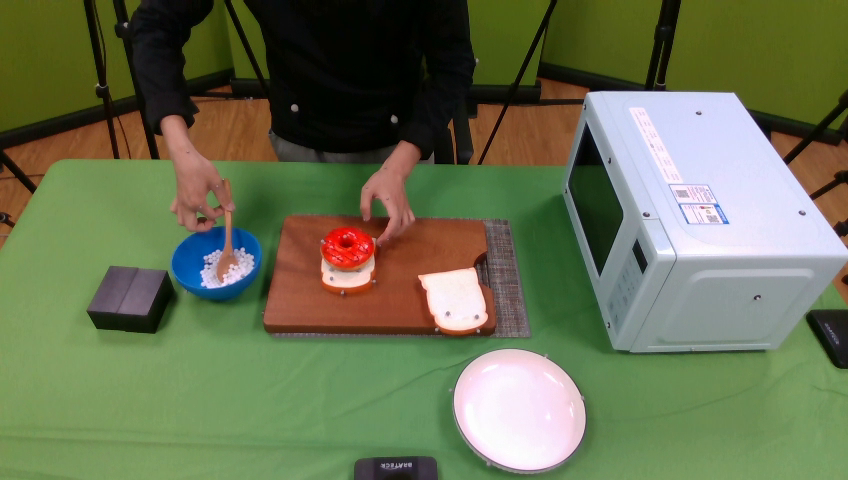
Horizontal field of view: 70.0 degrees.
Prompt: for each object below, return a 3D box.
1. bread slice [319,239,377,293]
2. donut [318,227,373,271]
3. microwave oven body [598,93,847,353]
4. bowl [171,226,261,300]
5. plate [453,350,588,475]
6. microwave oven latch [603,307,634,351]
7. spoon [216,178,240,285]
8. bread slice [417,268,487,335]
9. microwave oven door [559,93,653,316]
[{"bbox_3d":[-0.140,0.044,1.111,0.105,0.019,0.130,0,44,-3],"label":"bread slice"},{"bbox_3d":[-0.141,0.017,1.096,0.099,0.048,0.098,2,44,-2],"label":"donut"},{"bbox_3d":[0.475,-0.041,1.109,0.326,0.261,0.438,-1,45,-4],"label":"microwave oven body"},{"bbox_3d":[-0.363,0.054,1.081,0.151,0.077,0.150,3,45,-2],"label":"bowl"},{"bbox_3d":[0.147,0.267,0.943,0.208,0.039,0.206,2,45,-2],"label":"plate"},{"bbox_3d":[0.332,0.153,1.044,0.030,0.029,0.078,0,45,-4],"label":"microwave oven latch"},{"bbox_3d":[-0.350,-0.015,1.083,0.042,0.193,0.021,0,0,-25],"label":"spoon"},{"bbox_3d":[0.055,0.107,1.063,0.107,0.018,0.133,-9,48,-12],"label":"bread slice"},{"bbox_3d":[0.327,-0.074,1.123,0.039,0.245,0.353,-1,46,-5],"label":"microwave oven door"}]
